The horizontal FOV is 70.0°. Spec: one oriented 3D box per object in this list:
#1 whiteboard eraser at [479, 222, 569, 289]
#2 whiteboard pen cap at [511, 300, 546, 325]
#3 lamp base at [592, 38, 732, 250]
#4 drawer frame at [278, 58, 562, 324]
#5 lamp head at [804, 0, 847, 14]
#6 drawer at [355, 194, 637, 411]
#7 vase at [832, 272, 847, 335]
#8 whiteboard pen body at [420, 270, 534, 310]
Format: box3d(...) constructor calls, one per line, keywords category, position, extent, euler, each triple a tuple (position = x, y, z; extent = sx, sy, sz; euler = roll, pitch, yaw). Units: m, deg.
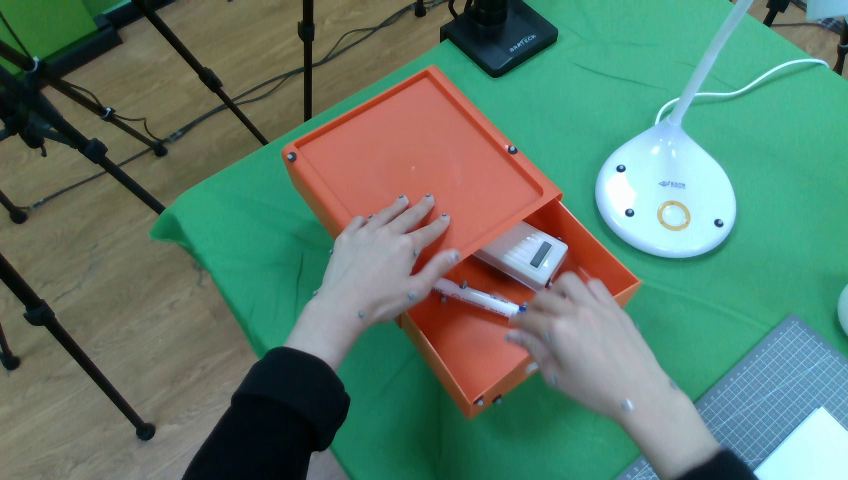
box3d(category="whiteboard eraser", position=(0.092, 0.011, 0.633), extent=(0.111, 0.042, 0.055), euler=(19, 68, 43))
box3d(category="whiteboard pen cap", position=(0.101, 0.070, 0.588), extent=(0.033, 0.018, 0.018), euler=(19, 63, 8))
box3d(category="lamp base", position=(0.275, -0.107, 0.647), extent=(0.161, 0.182, 0.177), euler=(-4, 59, -2))
box3d(category="drawer frame", position=(-0.007, -0.056, 0.627), extent=(0.201, 0.083, 0.212), euler=(-34, 68, -15))
box3d(category="lamp head", position=(0.296, -0.208, 0.373), extent=(0.112, 0.112, 0.123), euler=(-11, 101, -5))
box3d(category="drawer", position=(0.058, 0.023, 0.588), extent=(0.194, 0.074, 0.210), euler=(-32, 66, -15))
box3d(category="vase", position=(0.474, 0.034, 0.561), extent=(0.098, 0.201, 0.097), euler=(-1, 61, 1))
box3d(category="whiteboard pen body", position=(0.046, 0.048, 0.595), extent=(0.140, 0.017, 0.017), euler=(17, 63, 10))
